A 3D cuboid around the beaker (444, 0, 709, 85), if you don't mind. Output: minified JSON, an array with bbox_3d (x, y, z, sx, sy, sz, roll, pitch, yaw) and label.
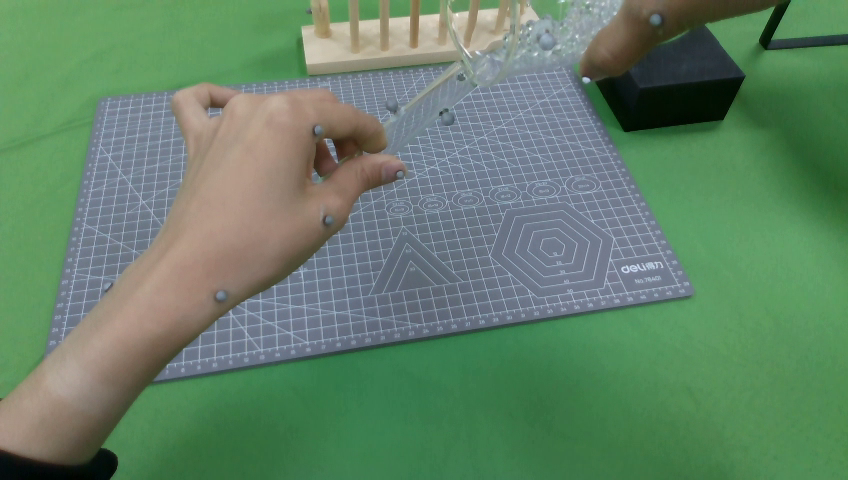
[{"bbox_3d":[0.066,-0.112,0.265,0.100,0.084,0.073,-15,59,-14],"label":"beaker"}]

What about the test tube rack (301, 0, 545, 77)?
[{"bbox_3d":[-0.001,-0.227,0.594,0.243,0.086,0.066,-8,52,-8],"label":"test tube rack"}]

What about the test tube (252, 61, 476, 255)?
[{"bbox_3d":[-0.036,-0.037,0.309,0.150,0.017,0.017,-37,51,20],"label":"test tube"}]
